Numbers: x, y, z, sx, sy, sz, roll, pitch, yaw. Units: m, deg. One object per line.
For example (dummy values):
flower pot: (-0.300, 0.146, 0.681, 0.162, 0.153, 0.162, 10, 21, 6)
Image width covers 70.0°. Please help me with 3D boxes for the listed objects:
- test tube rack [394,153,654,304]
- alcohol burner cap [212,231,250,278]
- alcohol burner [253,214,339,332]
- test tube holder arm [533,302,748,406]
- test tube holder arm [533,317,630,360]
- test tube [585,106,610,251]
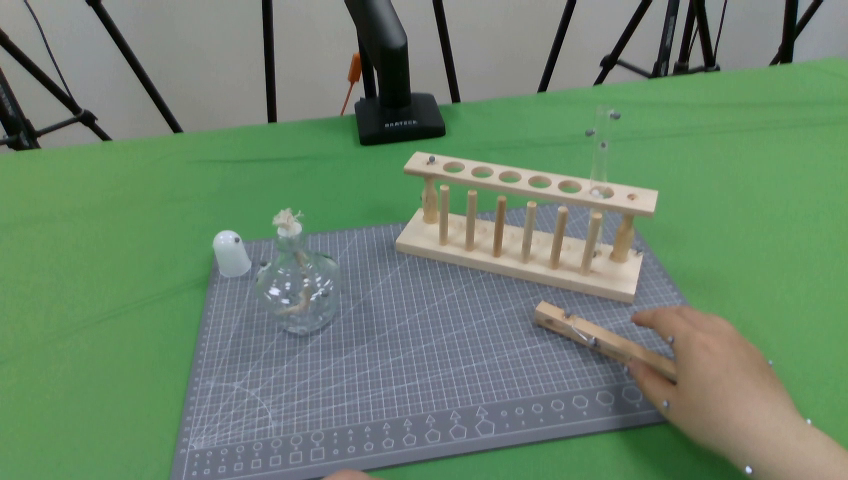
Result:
test tube rack: (0.090, -0.016, 0.598, 0.241, 0.086, 0.066, 12, 41, 18)
alcohol burner cap: (-0.198, 0.012, 0.617, 0.034, 0.048, 0.033, -1, 39, 1)
alcohol burner: (-0.116, 0.025, 0.537, 0.078, 0.120, 0.077, 0, 39, 1)
test tube holder arm: (0.174, 0.092, 0.505, 0.177, 0.013, 0.015, 22, 51, 27)
test tube holder arm: (0.138, 0.083, 0.530, 0.087, 0.010, 0.015, 17, 48, 31)
test tube: (0.159, -0.051, 0.558, 0.017, 0.151, 0.017, -5, 36, 4)
